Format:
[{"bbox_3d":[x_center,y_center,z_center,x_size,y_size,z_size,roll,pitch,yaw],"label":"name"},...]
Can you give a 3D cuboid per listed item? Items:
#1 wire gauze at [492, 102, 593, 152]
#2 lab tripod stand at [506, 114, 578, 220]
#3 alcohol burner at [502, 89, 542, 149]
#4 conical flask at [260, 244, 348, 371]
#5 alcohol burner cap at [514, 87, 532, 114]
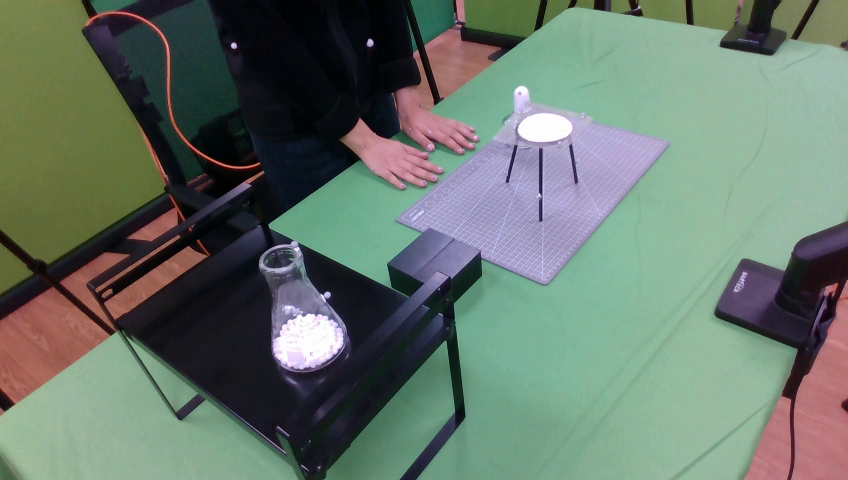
[{"bbox_3d":[0.190,-0.180,0.964,0.120,0.011,0.125,19,48,27],"label":"wire gauze"},{"bbox_3d":[0.198,-0.127,1.005,0.148,0.132,0.147,-3,42,3],"label":"lab tripod stand"},{"bbox_3d":[0.186,-0.235,1.149,0.078,0.119,0.077,-5,42,5],"label":"alcohol burner"},{"bbox_3d":[-0.118,0.060,0.565,0.075,0.122,0.075,-5,41,4],"label":"conical flask"},{"bbox_3d":[0.183,-0.262,1.126,0.034,0.048,0.033,-7,40,7],"label":"alcohol burner cap"}]
